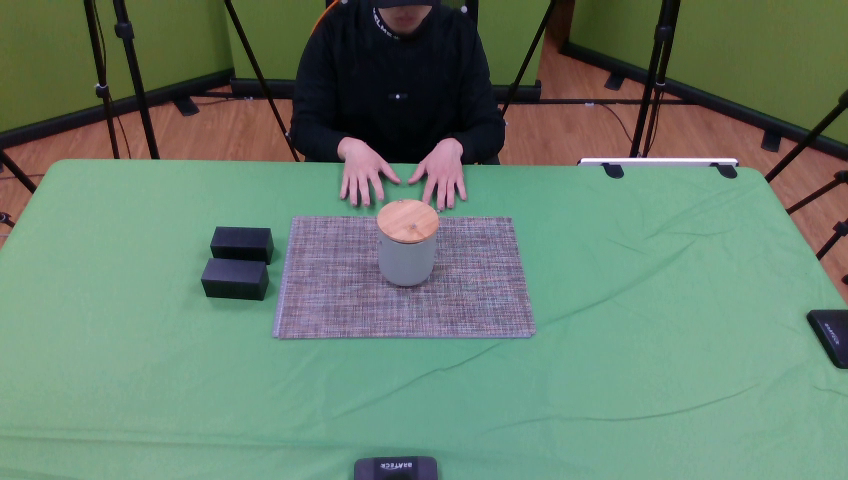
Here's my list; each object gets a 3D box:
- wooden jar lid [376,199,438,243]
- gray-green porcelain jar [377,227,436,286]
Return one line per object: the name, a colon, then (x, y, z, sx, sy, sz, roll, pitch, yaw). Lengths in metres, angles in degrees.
wooden jar lid: (-0.029, -0.030, 1.059, 0.108, 0.021, 0.107, 2, 43, -2)
gray-green porcelain jar: (-0.033, 0.014, 1.105, 0.106, 0.127, 0.105, 2, 46, -2)
